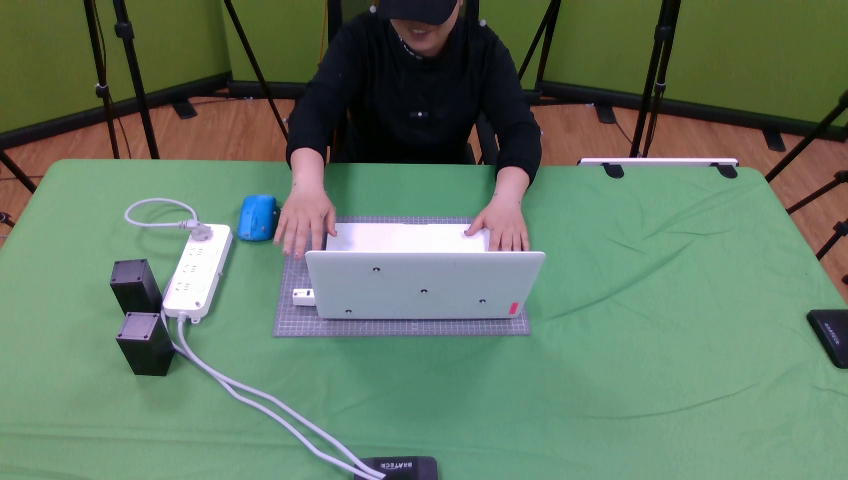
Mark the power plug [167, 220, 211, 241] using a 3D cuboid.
[{"bbox_3d":[-0.438,-0.017,1.143,0.072,0.053,0.035,10,43,6],"label":"power plug"}]

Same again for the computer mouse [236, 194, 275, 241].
[{"bbox_3d":[-0.334,-0.048,1.206,0.063,0.041,0.116,2,51,-4],"label":"computer mouse"}]

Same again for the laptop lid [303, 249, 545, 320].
[{"bbox_3d":[-0.003,0.076,0.962,0.357,0.242,0.013,1,58,-5],"label":"laptop lid"}]

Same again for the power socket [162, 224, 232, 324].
[{"bbox_3d":[-0.411,0.052,1.106,0.072,0.033,0.225,3,46,-1],"label":"power socket"}]

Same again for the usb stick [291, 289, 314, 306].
[{"bbox_3d":[-0.203,0.101,1.067,0.059,0.027,0.021,4,45,-5],"label":"usb stick"}]

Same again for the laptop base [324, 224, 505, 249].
[{"bbox_3d":[-0.014,0.055,1.144,0.355,0.023,0.234,0,42,-4],"label":"laptop base"}]
